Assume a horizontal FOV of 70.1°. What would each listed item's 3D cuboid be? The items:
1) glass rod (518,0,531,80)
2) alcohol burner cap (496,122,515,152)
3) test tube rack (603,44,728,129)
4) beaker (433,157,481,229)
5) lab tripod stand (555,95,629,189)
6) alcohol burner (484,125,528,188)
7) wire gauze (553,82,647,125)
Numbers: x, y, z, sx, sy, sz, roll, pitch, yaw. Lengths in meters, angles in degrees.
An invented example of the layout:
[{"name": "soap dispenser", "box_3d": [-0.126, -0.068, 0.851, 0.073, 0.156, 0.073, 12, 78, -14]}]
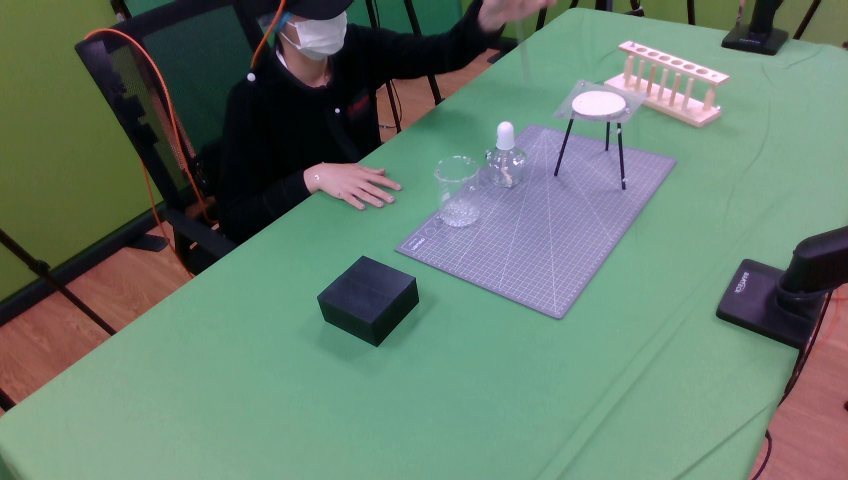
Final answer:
[{"name": "glass rod", "box_3d": [0.156, -0.353, 0.955, 0.008, 0.200, 0.008, -10, 24, 5]}, {"name": "alcohol burner cap", "box_3d": [0.139, -0.179, 1.037, 0.034, 0.048, 0.033, -4, 43, 5]}, {"name": "test tube rack", "box_3d": [0.480, -0.316, 1.227, 0.067, 0.085, 0.240, -28, 44, -22]}, {"name": "beaker", "box_3d": [0.058, -0.077, 0.994, 0.073, 0.101, 0.084, 19, 46, 28]}, {"name": "lab tripod stand", "box_3d": [0.301, -0.174, 1.045, 0.148, 0.132, 0.147, -5, 38, 5]}, {"name": "alcohol burner", "box_3d": [0.144, -0.152, 1.059, 0.078, 0.119, 0.077, -3, 41, 3]}, {"name": "wire gauze", "box_3d": [0.293, -0.225, 1.002, 0.120, 0.011, 0.125, 17, 45, 27]}]
